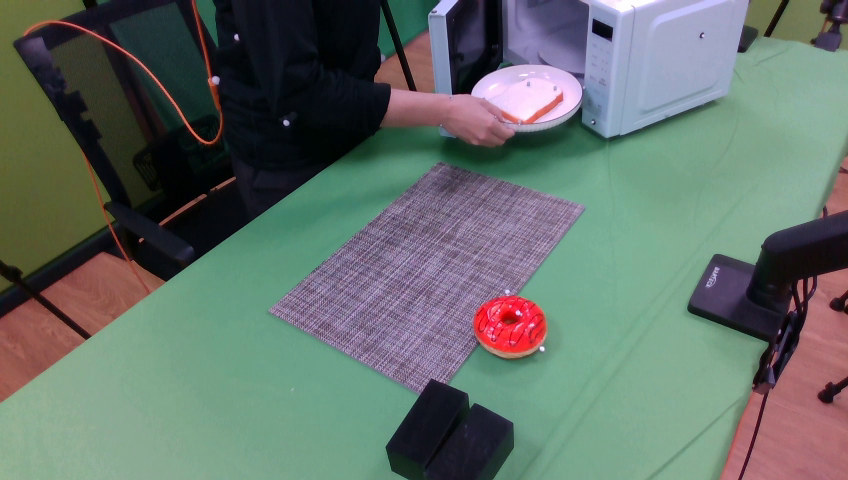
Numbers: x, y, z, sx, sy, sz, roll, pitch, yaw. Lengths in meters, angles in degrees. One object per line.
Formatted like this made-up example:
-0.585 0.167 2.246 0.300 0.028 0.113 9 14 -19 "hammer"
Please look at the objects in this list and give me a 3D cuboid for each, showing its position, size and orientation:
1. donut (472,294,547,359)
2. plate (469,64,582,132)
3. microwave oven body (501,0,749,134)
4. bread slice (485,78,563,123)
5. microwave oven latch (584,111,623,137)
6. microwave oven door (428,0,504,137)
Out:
0.114 0.114 0.803 0.099 0.048 0.098 0 40 1 "donut"
0.189 -0.262 1.137 0.207 0.039 0.206 -4 44 4 "plate"
0.382 -0.444 1.246 0.327 0.261 0.437 -22 42 -16 "microwave oven body"
0.195 -0.265 1.141 0.132 0.019 0.104 -37 52 -25 "bread slice"
0.337 -0.222 1.142 0.030 0.029 0.078 -21 42 -14 "microwave oven latch"
0.097 -0.407 1.235 0.039 0.245 0.355 10 44 19 "microwave oven door"
